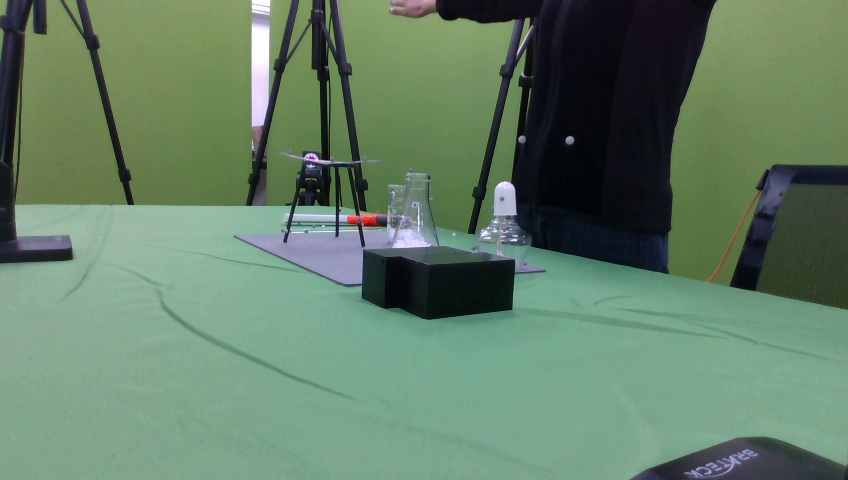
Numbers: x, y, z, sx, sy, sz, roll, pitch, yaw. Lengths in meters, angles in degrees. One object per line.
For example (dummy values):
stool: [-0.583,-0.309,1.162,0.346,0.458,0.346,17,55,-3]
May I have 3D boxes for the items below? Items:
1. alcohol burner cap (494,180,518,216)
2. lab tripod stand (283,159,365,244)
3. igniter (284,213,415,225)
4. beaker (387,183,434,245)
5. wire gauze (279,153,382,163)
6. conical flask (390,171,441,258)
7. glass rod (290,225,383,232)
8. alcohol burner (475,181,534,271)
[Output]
alcohol burner cap: [0.108,-0.055,0.800,0.034,0.048,0.034,-2,4,0]
lab tripod stand: [-0.151,-0.063,0.983,0.148,0.131,0.148,4,7,0]
igniter: [-0.154,-0.045,1.282,0.278,0.025,0.057,0,-2,-20]
beaker: [-0.027,-0.044,1.012,0.074,0.100,0.083,-2,8,-34]
wire gauze: [-0.149,-0.129,0.974,0.124,0.011,0.122,10,9,41]
conical flask: [-0.010,-0.037,0.872,0.075,0.122,0.075,2,7,0]
glass rod: [-0.166,-0.023,1.174,0.201,0.008,0.008,-3,9,-35]
alcohol burner: [0.108,-0.020,0.804,0.078,0.119,0.078,3,5,0]
